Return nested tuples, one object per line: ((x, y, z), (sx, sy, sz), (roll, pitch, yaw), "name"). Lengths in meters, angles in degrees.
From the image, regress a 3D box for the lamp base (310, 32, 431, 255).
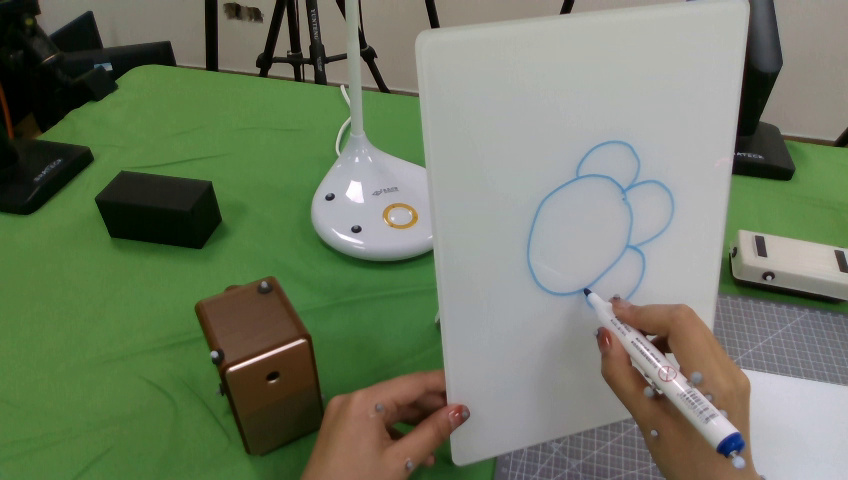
((-0.049, -0.104, 0.612), (0.161, 0.182, 0.177), (-25, 45, -26), "lamp base")

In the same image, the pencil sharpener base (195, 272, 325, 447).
((-0.120, 0.088, 0.448), (0.061, 0.108, 0.076), (-21, 46, -23), "pencil sharpener base")

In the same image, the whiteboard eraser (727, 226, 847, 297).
((0.355, 0.023, 0.585), (0.112, 0.042, 0.055), (10, 41, 11), "whiteboard eraser")

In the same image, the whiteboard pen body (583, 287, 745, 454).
((0.135, 0.069, 0.363), (0.017, 0.017, 0.139), (-14, 37, -16), "whiteboard pen body")

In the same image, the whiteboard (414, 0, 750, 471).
((0.094, -0.016, 0.465), (0.218, 0.307, 0.142), (-11, 24, -12), "whiteboard")

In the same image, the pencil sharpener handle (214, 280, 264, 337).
((-0.144, 0.048, 0.473), (0.036, 0.068, 0.030), (-27, 48, -16), "pencil sharpener handle")
